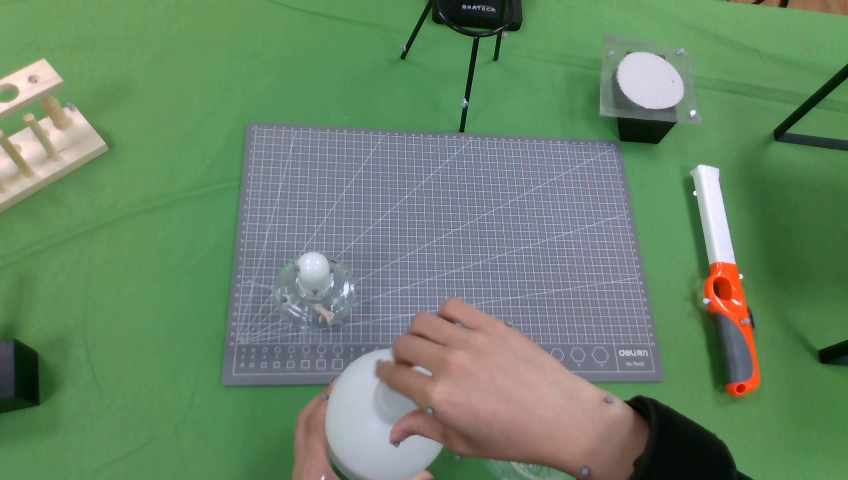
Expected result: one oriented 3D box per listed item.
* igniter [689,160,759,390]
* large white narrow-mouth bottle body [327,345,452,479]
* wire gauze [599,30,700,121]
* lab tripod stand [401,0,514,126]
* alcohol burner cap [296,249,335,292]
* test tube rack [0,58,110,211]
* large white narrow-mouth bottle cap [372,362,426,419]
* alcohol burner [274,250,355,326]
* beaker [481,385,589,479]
[{"bbox_3d":[0.340,0.033,0.691,0.057,0.025,0.274,8,66,-16],"label":"igniter"},{"bbox_3d":[-0.029,0.141,0.496,0.102,0.195,0.101,3,65,-7],"label":"large white narrow-mouth bottle body"},{"bbox_3d":[0.273,-0.200,0.739,0.121,0.011,0.124,9,65,-5],"label":"wire gauze"},{"bbox_3d":[0.047,-0.229,0.703,0.149,0.132,0.147,4,67,-9],"label":"lab tripod stand"},{"bbox_3d":[-0.098,0.026,0.537,0.034,0.048,0.033,2,71,-4],"label":"alcohol burner cap"},{"bbox_3d":[-0.445,-0.070,0.583,0.242,0.085,0.066,-38,77,-22],"label":"test tube rack"},{"bbox_3d":[-0.018,0.103,0.416,0.038,0.024,0.037,3,66,-7],"label":"large white narrow-mouth bottle cap"},{"bbox_3d":[-0.103,0.039,0.570,0.078,0.119,0.077,4,65,-9],"label":"alcohol burner"},{"bbox_3d":[0.093,0.179,0.551,0.084,0.101,0.073,7,65,-5],"label":"beaker"}]
